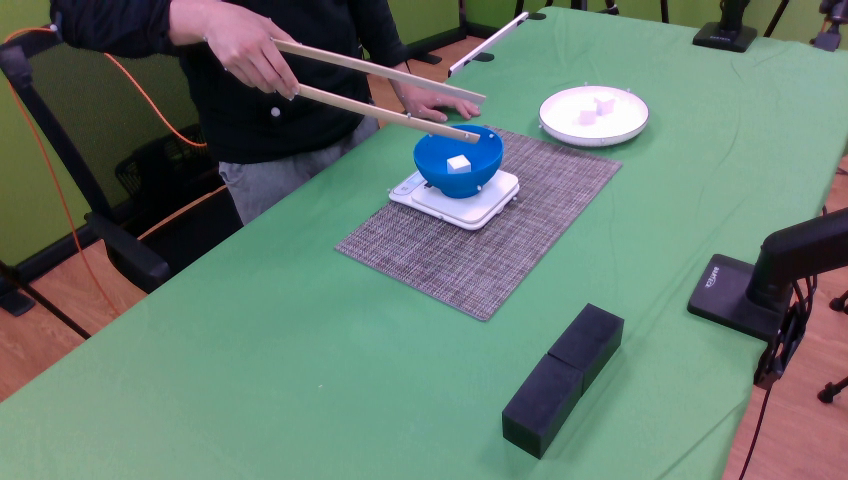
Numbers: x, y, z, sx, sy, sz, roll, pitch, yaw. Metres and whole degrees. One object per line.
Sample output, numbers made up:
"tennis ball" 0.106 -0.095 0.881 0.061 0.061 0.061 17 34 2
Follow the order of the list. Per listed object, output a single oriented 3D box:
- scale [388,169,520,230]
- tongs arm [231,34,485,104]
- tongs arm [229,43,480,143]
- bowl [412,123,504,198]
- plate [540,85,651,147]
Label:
"scale" 0.050 -0.090 1.052 0.199 0.032 0.149 24 49 31
"tongs arm" -0.092 -0.256 0.921 0.389 0.027 0.028 10 74 -13
"tongs arm" -0.098 -0.216 0.905 0.386 0.026 0.050 12 70 -12
"bowl" 0.060 -0.123 1.007 0.151 0.077 0.150 -5 41 5
"plate" 0.333 -0.239 1.185 0.207 0.039 0.206 -4 41 4
